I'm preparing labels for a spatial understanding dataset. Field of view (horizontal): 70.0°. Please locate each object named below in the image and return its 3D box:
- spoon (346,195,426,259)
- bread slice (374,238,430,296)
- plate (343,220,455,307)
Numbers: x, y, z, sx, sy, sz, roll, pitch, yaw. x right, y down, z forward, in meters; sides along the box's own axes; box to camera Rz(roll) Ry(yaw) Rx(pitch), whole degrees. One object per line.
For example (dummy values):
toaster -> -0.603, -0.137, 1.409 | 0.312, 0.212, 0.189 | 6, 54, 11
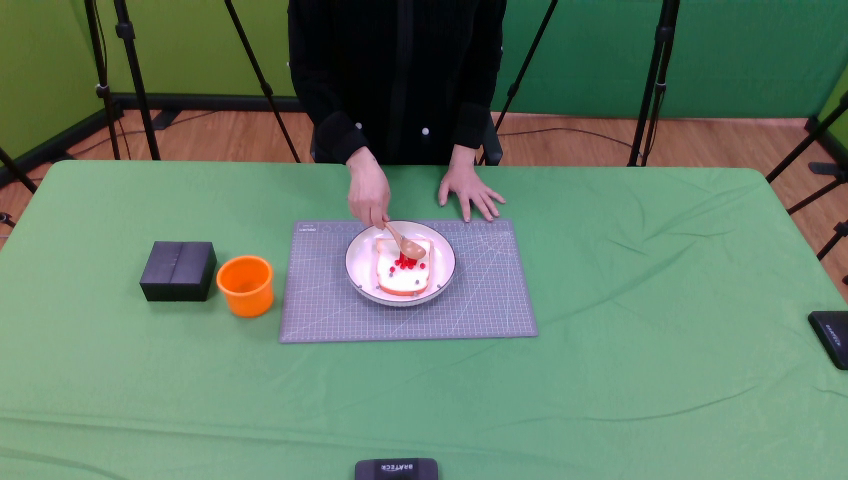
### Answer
spoon -> -0.074, -0.027, 1.142 | 0.193, 0.022, 0.041 | 42, 49, 10
bread slice -> -0.039, 0.048, 1.135 | 0.107, 0.018, 0.133 | -1, 47, -4
plate -> -0.047, 0.046, 1.135 | 0.209, 0.038, 0.208 | 2, 46, -2
